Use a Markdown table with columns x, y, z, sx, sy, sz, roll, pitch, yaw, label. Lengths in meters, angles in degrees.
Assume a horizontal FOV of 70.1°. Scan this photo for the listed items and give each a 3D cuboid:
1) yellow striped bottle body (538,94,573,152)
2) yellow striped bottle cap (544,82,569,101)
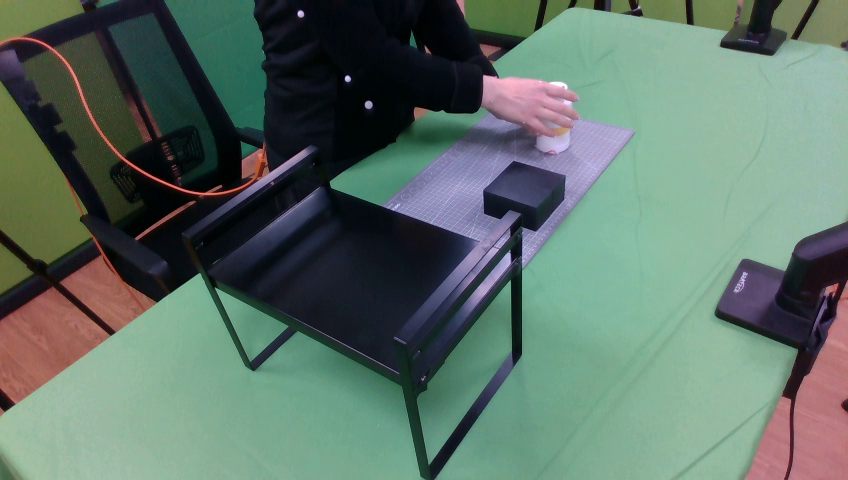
| x | y | z | sx | sy | sz | roll | pitch | yaw | label |
| --- | --- | --- | --- | --- | --- | --- | --- | --- | --- |
| 0.244 | -0.230 | 1.127 | 0.063 | 0.121 | 0.062 | -5 | 40 | 5 | yellow striped bottle body |
| 0.239 | -0.269 | 1.093 | 0.044 | 0.019 | 0.044 | -6 | 38 | 5 | yellow striped bottle cap |
